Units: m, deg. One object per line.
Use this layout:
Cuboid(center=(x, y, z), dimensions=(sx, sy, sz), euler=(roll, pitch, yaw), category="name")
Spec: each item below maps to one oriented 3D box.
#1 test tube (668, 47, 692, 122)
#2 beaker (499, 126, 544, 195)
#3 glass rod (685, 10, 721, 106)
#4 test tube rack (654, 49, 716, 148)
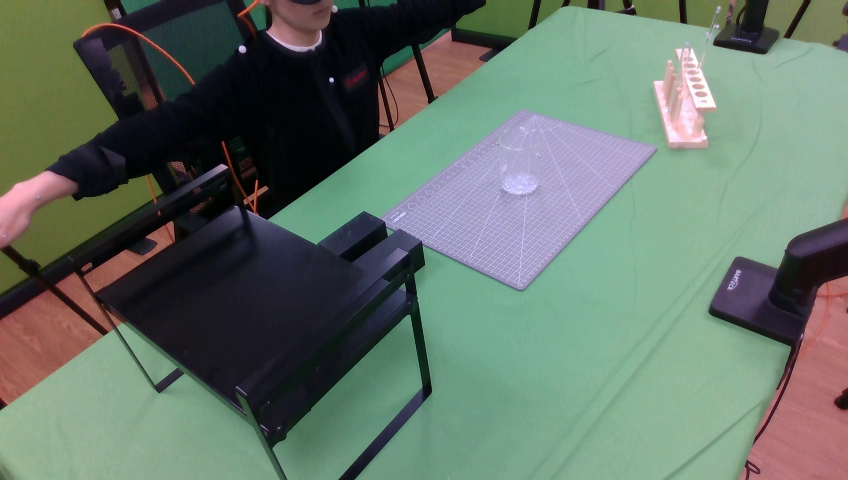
Cuboid(center=(0.472, -0.285, 1.117), dimensions=(0.017, 0.151, 0.017), euler=(-4, 44, 4), category="test tube")
Cuboid(center=(0.170, -0.136, 1.045), dimensions=(0.073, 0.101, 0.084), euler=(12, 44, 21), category="beaker")
Cuboid(center=(0.523, -0.336, 1.136), dimensions=(0.008, 0.200, 0.008), euler=(-1, 47, 1), category="glass rod")
Cuboid(center=(0.502, -0.281, 1.176), dimensions=(0.066, 0.085, 0.241), euler=(2, 41, 11), category="test tube rack")
